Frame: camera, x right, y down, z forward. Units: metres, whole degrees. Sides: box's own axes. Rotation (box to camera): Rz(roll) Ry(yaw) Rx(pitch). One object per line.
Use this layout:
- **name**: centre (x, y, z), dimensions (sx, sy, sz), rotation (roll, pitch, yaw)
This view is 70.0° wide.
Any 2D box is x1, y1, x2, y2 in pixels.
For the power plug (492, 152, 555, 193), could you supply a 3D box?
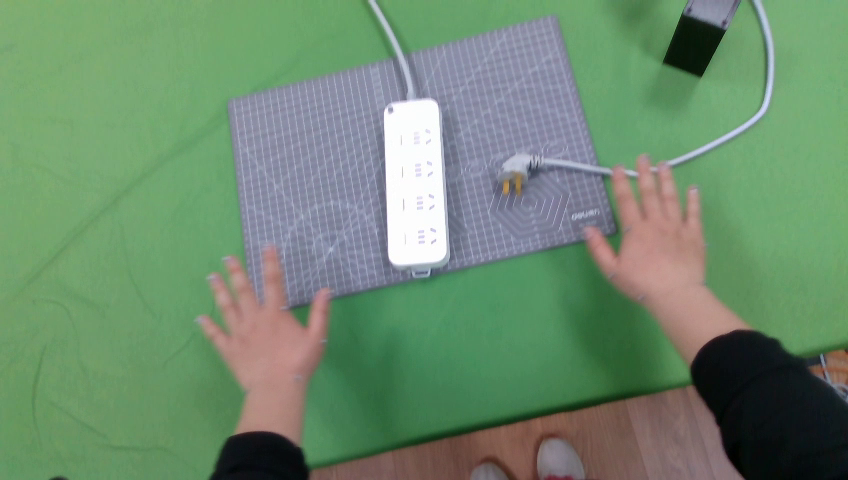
- **power plug**: centre (0.117, -0.081, 0.715), dimensions (0.072, 0.035, 0.052), rotation (-5, 62, 18)

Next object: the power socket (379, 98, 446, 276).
- **power socket**: centre (-0.015, -0.070, 0.738), dimensions (0.072, 0.033, 0.225), rotation (-5, 74, 6)
